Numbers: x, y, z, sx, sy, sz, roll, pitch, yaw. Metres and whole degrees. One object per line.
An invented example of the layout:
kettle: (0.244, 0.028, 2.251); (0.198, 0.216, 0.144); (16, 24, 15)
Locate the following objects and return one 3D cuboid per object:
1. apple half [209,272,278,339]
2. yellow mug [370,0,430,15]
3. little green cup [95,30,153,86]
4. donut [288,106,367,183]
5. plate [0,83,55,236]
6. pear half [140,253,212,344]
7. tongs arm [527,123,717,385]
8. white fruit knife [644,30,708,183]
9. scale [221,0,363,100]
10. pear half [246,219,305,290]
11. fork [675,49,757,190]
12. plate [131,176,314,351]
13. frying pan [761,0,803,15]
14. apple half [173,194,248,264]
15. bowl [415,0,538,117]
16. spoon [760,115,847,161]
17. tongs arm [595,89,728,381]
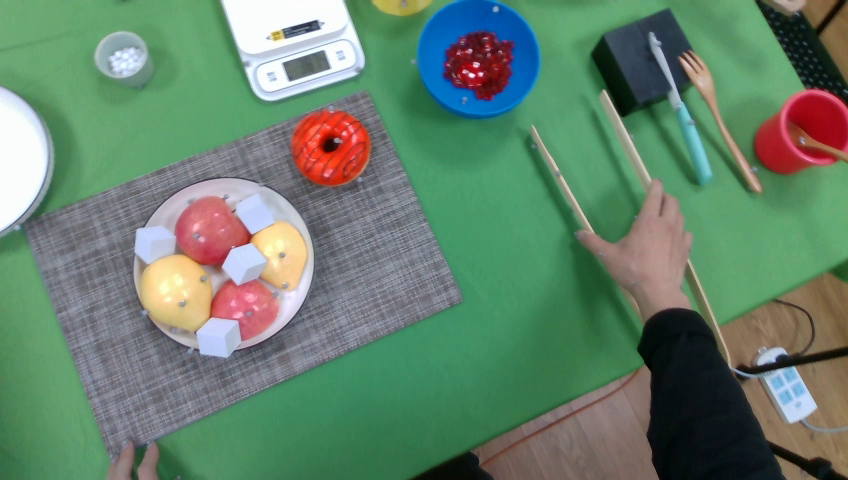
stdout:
apple half: (-0.216, 0.076, 0.706); (0.081, 0.033, 0.081); (1, 74, -2)
yellow mug: (-0.045, -0.364, 0.788); (0.131, 0.064, 0.100); (33, 80, 3)
little green cup: (-0.372, -0.224, 0.757); (0.061, 0.039, 0.061); (1, 80, -3)
donut: (-0.119, -0.118, 0.750); (0.099, 0.048, 0.098); (0, 82, -2)
plate: (-0.545, -0.091, 0.723); (0.208, 0.039, 0.207); (1, 81, -4)
pear half: (-0.276, 0.069, 0.690); (0.076, 0.056, 0.109); (-30, 87, -16)
tongs arm: (0.241, 0.011, 0.754); (0.051, 0.026, 0.383); (-26, 81, -4)
white fruit knife: (0.321, -0.170, 0.775); (0.016, 0.027, 0.208); (-26, 98, -8)
scale: (-0.176, -0.292, 0.784); (0.149, 0.031, 0.200); (-19, 83, -6)
pear half: (-0.180, 0.017, 0.721); (0.070, 0.031, 0.087); (-22, 80, 6)
fork: (0.382, -0.154, 0.785); (0.028, 0.018, 0.208); (-33, 100, -10)
plate: (-0.234, 0.027, 0.722); (0.209, 0.038, 0.208); (1, 81, -4)
frying pan: (0.279, -0.435, 0.803); (0.486, 0.103, 0.306); (38, 81, 11)
apple half: (-0.255, -0.014, 0.709); (0.074, 0.053, 0.080); (-36, 88, -6)
bowl: (0.061, -0.218, 0.766); (0.151, 0.077, 0.151); (1, 81, -4)
spoon: (0.498, -0.110, 0.745); (0.041, 0.022, 0.191); (-29, 40, -8)
tongs arm: (0.292, -0.014, 0.756); (0.028, 0.028, 0.386); (-20, 81, -6)
